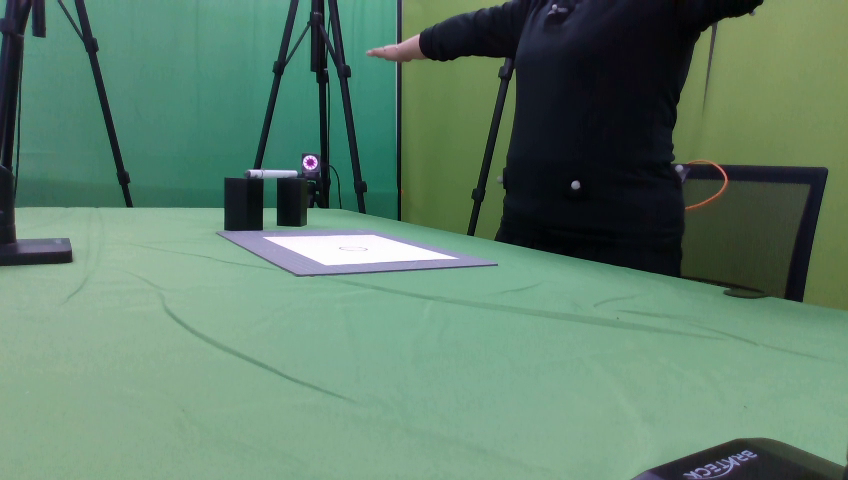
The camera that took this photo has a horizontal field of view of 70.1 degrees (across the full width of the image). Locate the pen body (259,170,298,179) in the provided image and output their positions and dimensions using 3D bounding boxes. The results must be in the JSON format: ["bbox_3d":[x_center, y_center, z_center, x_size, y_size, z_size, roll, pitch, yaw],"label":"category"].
[{"bbox_3d":[-0.301,-0.131,1.211,0.017,0.017,0.144,6,8,24],"label":"pen body"}]

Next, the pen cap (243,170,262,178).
[{"bbox_3d":[-0.328,-0.126,1.154,0.017,0.017,0.038,6,10,22],"label":"pen cap"}]
